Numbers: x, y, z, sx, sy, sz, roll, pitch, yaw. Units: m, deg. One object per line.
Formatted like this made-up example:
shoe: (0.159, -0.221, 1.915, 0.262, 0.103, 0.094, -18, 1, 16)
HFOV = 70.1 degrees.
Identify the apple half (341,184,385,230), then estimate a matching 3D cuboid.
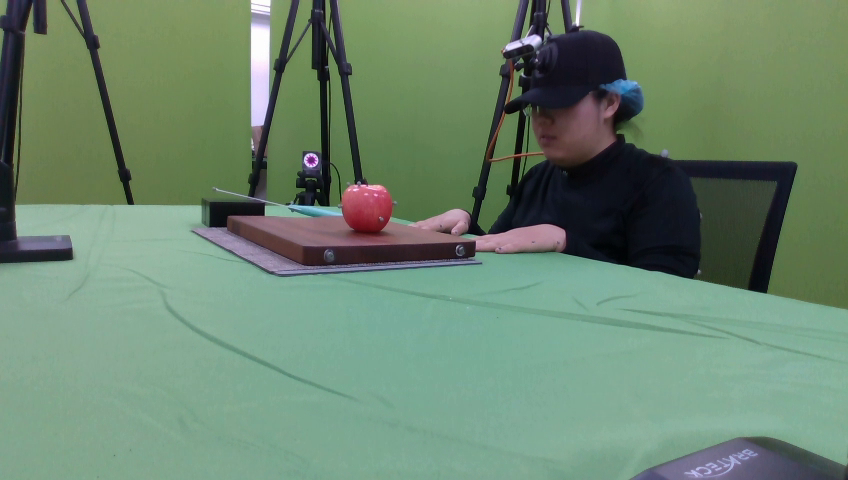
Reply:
apple half: (-0.103, -0.055, 0.968, 0.082, 0.081, 0.032, -2, 13, -32)

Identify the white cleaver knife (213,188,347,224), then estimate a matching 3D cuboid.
white cleaver knife: (-0.280, -0.067, 1.226, 0.288, 0.021, 0.065, 11, 6, -29)

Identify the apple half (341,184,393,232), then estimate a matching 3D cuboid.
apple half: (-0.083, -0.048, 0.936, 0.081, 0.074, 0.053, 1, 12, -32)
